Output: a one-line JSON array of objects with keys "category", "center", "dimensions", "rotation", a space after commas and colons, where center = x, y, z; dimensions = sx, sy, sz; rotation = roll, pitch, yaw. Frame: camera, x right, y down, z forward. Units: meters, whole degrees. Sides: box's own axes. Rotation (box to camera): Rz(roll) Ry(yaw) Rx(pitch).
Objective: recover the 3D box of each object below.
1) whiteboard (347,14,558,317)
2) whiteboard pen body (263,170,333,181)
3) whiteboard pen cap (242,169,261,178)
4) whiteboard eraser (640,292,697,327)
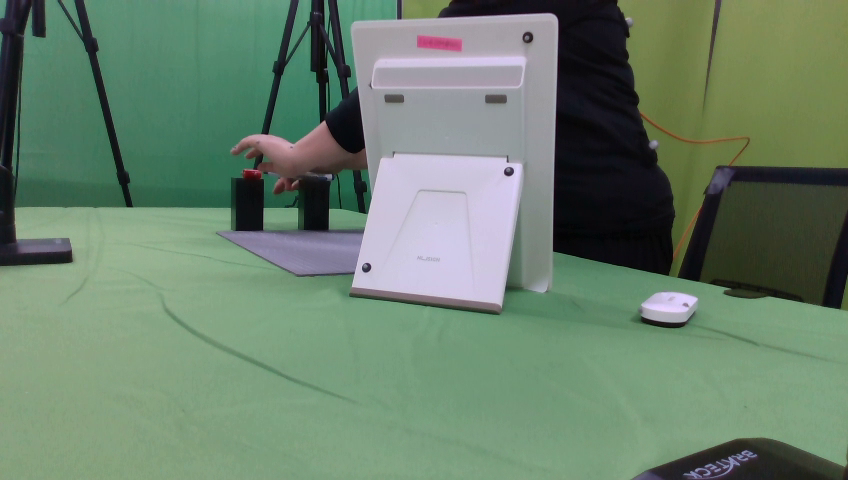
[{"category": "whiteboard", "center": [0.012, -0.056, 0.609], "dimensions": [0.216, 0.305, 0.144], "rotation": [5, 27, 20]}, {"category": "whiteboard pen body", "center": [-0.246, -0.127, 1.188], "dimensions": [0.141, 0.017, 0.017], "rotation": [0, 8, -31]}, {"category": "whiteboard pen cap", "center": [-0.326, -0.126, 1.144], "dimensions": [0.032, 0.017, 0.017], "rotation": [-1, 8, -36]}, {"category": "whiteboard eraser", "center": [0.240, 0.066, 0.590], "dimensions": [0.041, 0.019, 0.102], "rotation": [7, 7, 31]}]
